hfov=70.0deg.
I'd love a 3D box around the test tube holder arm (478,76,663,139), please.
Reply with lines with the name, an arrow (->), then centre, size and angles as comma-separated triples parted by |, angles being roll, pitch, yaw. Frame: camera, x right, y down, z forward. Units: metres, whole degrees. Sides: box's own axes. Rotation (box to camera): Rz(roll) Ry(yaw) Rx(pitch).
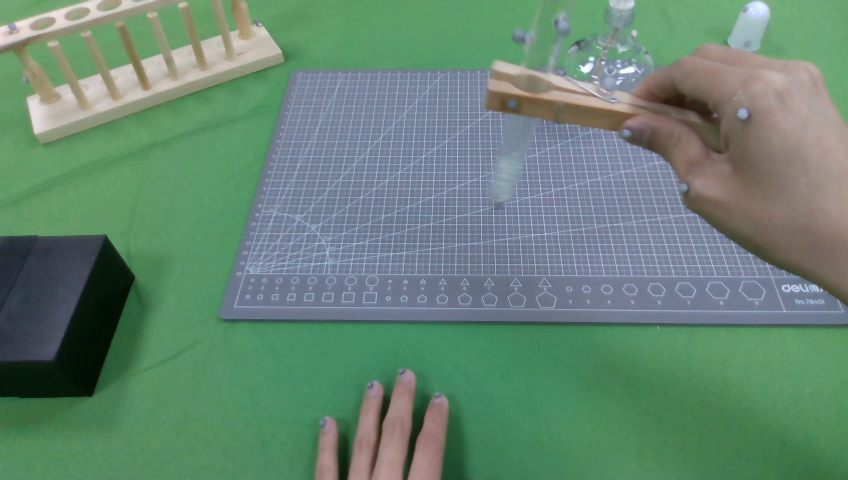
test tube holder arm -> 0.070, -0.064, 0.293 | 0.088, 0.015, 0.010 | 10, 57, 0

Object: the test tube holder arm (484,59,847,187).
test tube holder arm -> 0.115, -0.057, 0.294 | 0.178, 0.015, 0.013 | 16, 58, 4

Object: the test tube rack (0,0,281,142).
test tube rack -> -0.272, -0.187, 0.584 | 0.242, 0.086, 0.066 | -25, 54, -17

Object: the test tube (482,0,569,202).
test tube -> 0.048, -0.069, 0.303 | 0.017, 0.151, 0.017 | 3, 55, -4

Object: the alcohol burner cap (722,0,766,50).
alcohol burner cap -> 0.327, -0.220, 0.613 | 0.034, 0.048, 0.033 | -2, 51, 3

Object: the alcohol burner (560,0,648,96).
alcohol burner -> 0.161, -0.170, 0.530 | 0.078, 0.120, 0.077 | -1, 50, 1
